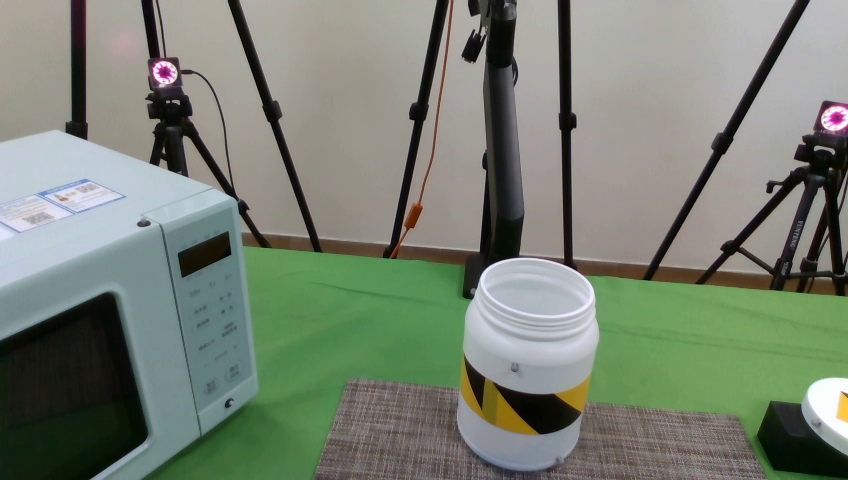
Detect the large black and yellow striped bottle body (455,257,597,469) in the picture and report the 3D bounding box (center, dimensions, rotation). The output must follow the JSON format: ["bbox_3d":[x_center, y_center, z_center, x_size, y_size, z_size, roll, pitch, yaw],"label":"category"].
[{"bbox_3d":[0.101,0.121,0.615,0.131,0.185,0.129,2,28,-1],"label":"large black and yellow striped bottle body"}]

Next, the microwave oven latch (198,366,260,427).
[{"bbox_3d":[-0.210,0.161,0.639,0.030,0.030,0.079,21,33,29],"label":"microwave oven latch"}]

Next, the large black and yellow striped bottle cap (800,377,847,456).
[{"bbox_3d":[0.447,0.182,0.612,0.115,0.019,0.114,1,27,0],"label":"large black and yellow striped bottle cap"}]

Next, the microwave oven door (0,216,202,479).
[{"bbox_3d":[-0.330,0.151,0.427,0.039,0.245,0.356,19,32,28],"label":"microwave oven door"}]

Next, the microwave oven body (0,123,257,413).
[{"bbox_3d":[-0.428,0.099,0.529,0.323,0.262,0.441,20,33,28],"label":"microwave oven body"}]
